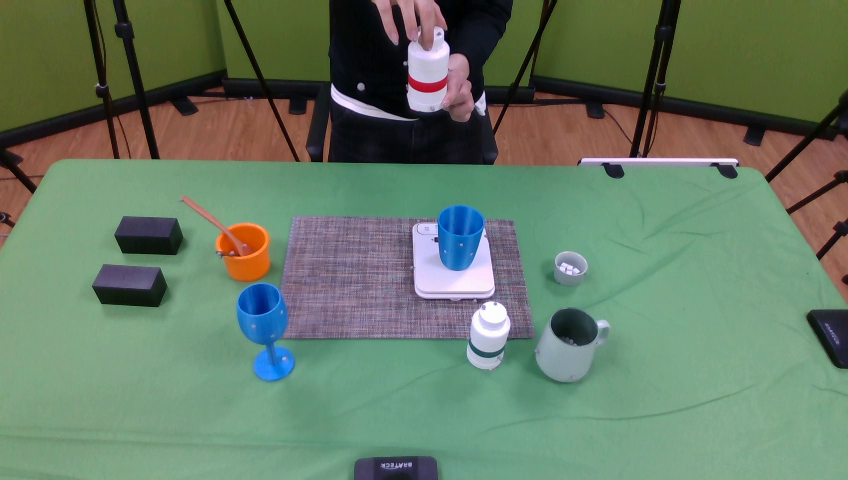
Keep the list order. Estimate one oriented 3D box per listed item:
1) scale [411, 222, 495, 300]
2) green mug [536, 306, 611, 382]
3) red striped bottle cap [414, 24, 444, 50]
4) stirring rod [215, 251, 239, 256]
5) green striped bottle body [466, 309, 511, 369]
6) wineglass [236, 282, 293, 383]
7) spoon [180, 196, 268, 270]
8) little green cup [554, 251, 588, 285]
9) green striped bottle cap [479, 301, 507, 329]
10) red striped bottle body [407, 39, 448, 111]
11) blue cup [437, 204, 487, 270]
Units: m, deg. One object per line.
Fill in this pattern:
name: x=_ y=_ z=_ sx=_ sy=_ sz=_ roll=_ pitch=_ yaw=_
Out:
scale: x=0.052 y=0.031 z=1.158 sx=0.149 sy=0.032 sz=0.199 roll=1 pitch=46 yaw=-4
green mug: x=0.250 y=0.167 z=0.996 sx=0.125 sy=0.105 sz=0.092 roll=-15 pitch=48 yaw=-19
red striped bottle cap: x=0.007 y=-0.299 z=0.888 sx=0.044 sy=0.018 sz=0.044 roll=0 pitch=50 yaw=0
stirring rod: x=-0.339 y=0.024 z=1.059 sx=0.014 sy=0.176 sz=0.006 roll=16 pitch=86 yaw=-6
green striped bottle body: x=0.106 y=0.154 z=0.988 sx=0.063 sy=0.120 sz=0.063 roll=2 pitch=46 yaw=-2
wineglass: x=-0.243 y=0.143 z=0.934 sx=0.074 sy=0.173 sz=0.073 roll=2 pitch=46 yaw=-2
spoon: x=-0.360 y=-0.014 z=1.094 sx=0.021 sy=0.194 sz=0.041 roll=-27 pitch=26 yaw=31
little green cup: x=0.277 y=0.055 z=1.151 sx=0.061 sy=0.039 sz=0.061 roll=1 pitch=46 yaw=-1
green striped bottle cap: x=0.109 y=0.118 z=0.950 sx=0.044 sy=0.020 sz=0.044 roll=2 pitch=47 yaw=-2
red striped bottle body: x=0.005 y=-0.263 z=0.928 sx=0.063 sy=0.120 sz=0.062 roll=1 pitch=49 yaw=0
blue cup: x=0.063 y=0.001 z=1.098 sx=0.093 sy=0.101 sz=0.092 roll=2 pitch=43 yaw=-2
